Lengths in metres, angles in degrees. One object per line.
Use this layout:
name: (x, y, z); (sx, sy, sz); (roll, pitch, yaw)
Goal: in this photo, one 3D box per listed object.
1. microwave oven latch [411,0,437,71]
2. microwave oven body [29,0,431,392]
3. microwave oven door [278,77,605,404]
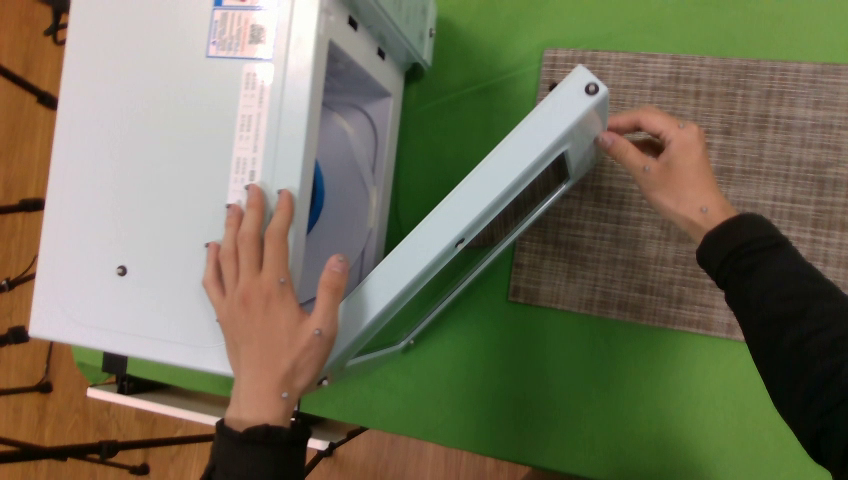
microwave oven latch: (-0.003, -0.245, 0.725); (0.030, 0.029, 0.079); (8, 90, 16)
microwave oven body: (-0.193, -0.093, 0.669); (0.325, 0.261, 0.441); (7, 89, 15)
microwave oven door: (0.036, 0.013, 0.594); (0.356, 0.245, 0.039); (-46, 75, 9)
